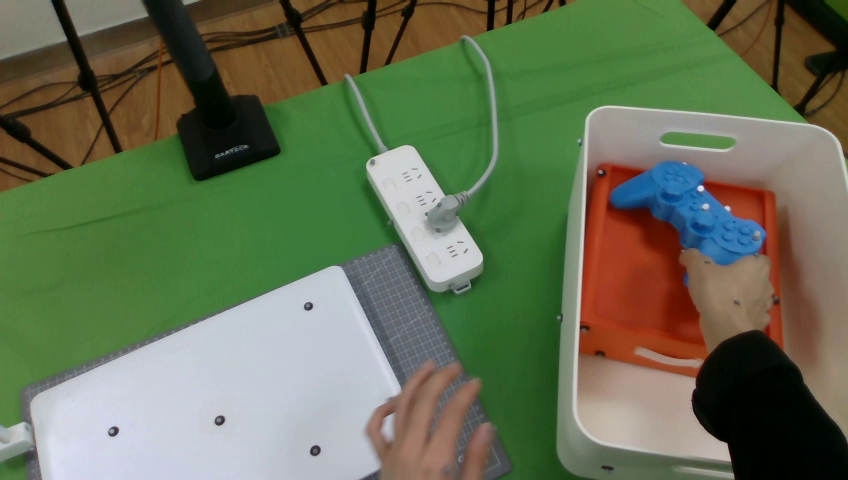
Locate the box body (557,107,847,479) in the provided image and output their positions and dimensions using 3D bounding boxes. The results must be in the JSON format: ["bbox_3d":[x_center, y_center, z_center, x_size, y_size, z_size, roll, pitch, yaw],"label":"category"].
[{"bbox_3d":[0.271,0.060,0.609,0.254,0.162,0.361,7,58,6],"label":"box body"}]

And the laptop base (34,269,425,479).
[{"bbox_3d":[-0.204,0.190,0.630,0.354,0.023,0.233,-24,63,-13],"label":"laptop base"}]

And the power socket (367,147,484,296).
[{"bbox_3d":[-0.002,-0.030,0.753,0.072,0.033,0.224,-23,59,-13],"label":"power socket"}]

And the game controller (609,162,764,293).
[{"bbox_3d":[0.275,-0.024,0.631,0.097,0.052,0.153,-18,51,-15],"label":"game controller"}]

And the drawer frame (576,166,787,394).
[{"bbox_3d":[0.268,0.036,0.663,0.201,0.083,0.212,11,55,8],"label":"drawer frame"}]

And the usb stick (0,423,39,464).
[{"bbox_3d":[-0.411,0.205,0.615,0.059,0.027,0.021,-20,54,-14],"label":"usb stick"}]

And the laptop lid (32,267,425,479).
[{"bbox_3d":[-0.203,0.186,0.619,0.357,0.013,0.239,-23,62,-12],"label":"laptop lid"}]

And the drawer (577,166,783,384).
[{"bbox_3d":[0.274,0.033,0.661,0.194,0.074,0.210,11,61,10],"label":"drawer"}]

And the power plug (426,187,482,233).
[{"bbox_3d":[0.038,-0.029,0.724,0.072,0.053,0.035,-13,57,-8],"label":"power plug"}]
